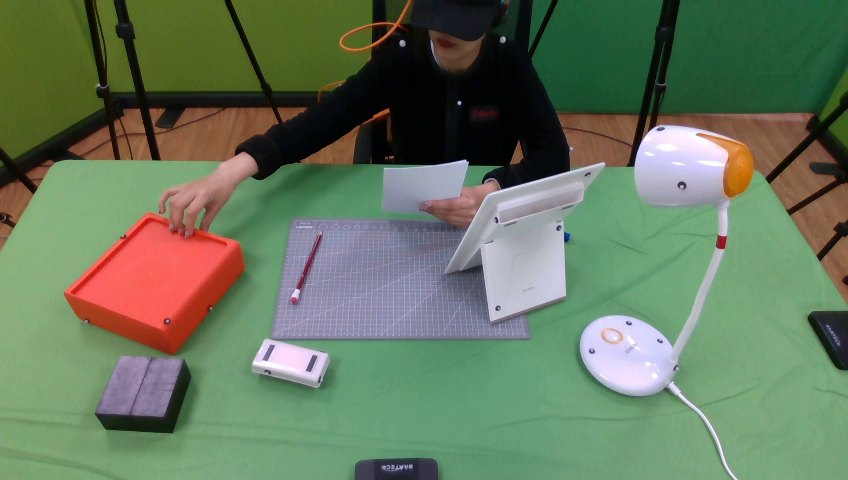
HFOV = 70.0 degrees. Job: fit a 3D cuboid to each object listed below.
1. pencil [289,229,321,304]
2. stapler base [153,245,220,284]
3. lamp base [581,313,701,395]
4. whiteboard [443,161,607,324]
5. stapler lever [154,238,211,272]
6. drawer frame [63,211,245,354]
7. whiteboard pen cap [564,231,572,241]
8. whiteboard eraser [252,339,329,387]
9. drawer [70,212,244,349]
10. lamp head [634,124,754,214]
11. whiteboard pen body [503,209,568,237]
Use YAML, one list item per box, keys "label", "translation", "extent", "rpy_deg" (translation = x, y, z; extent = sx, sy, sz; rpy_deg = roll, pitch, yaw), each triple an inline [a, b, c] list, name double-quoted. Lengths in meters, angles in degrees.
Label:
- label: "pencil"
  translation: [-0.221, 0.045, 1.141]
  extent: [0.012, 0.012, 0.193]
  rpy_deg: [8, 44, 4]
- label: "stapler base"
  translation: [-0.435, 0.039, 1.108]
  extent: [0.130, 0.024, 0.041]
  rpy_deg: [21, 45, 17]
- label: "lamp base"
  translation: [0.361, 0.144, 0.973]
  extent: [0.178, 0.181, 0.160]
  rpy_deg: [34, 53, 23]
- label: "whiteboard"
  translation: [0.185, 0.026, 1.028]
  extent: [0.217, 0.306, 0.143]
  rpy_deg: [-15, 68, -18]
- label: "stapler lever"
  translation: [-0.436, 0.023, 1.092]
  extent: [0.118, 0.040, 0.027]
  rpy_deg: [23, 46, 15]
- label: "drawer frame"
  translation: [-0.459, 0.067, 1.056]
  extent: [0.201, 0.083, 0.212]
  rpy_deg: [17, 48, 11]
- label: "whiteboard pen cap"
  translation: [0.282, -0.012, 1.230]
  extent: [0.033, 0.018, 0.018]
  rpy_deg: [25, 49, 15]
- label: "whiteboard eraser"
  translation: [-0.215, 0.199, 0.976]
  extent: [0.112, 0.042, 0.055]
  rpy_deg: [12, 45, 7]
- label: "drawer"
  translation: [-0.458, 0.065, 1.060]
  extent: [0.194, 0.073, 0.211]
  rpy_deg: [18, 48, 12]
- label: "lamp head"
  translation: [0.351, -0.089, 0.776]
  extent: [0.112, 0.113, 0.122]
  rpy_deg: [-30, 30, -28]
- label: "whiteboard pen body"
  translation: [0.230, -0.034, 1.247]
  extent: [0.140, 0.017, 0.017]
  rpy_deg: [22, 49, 15]
